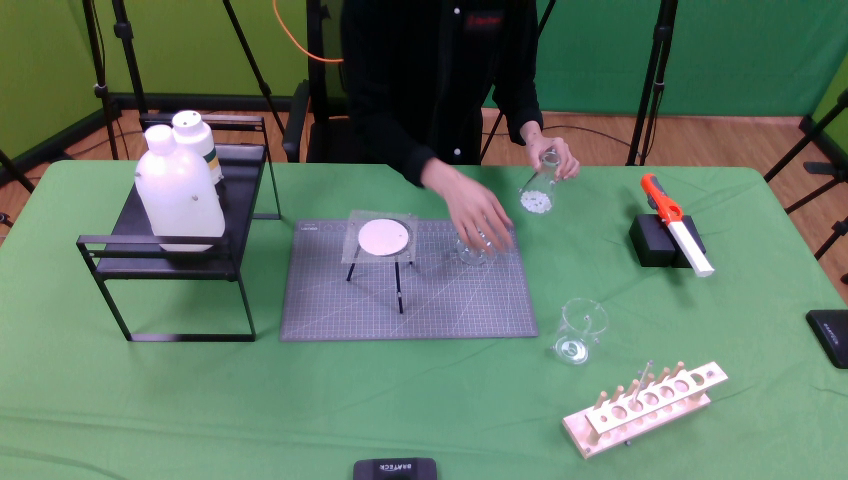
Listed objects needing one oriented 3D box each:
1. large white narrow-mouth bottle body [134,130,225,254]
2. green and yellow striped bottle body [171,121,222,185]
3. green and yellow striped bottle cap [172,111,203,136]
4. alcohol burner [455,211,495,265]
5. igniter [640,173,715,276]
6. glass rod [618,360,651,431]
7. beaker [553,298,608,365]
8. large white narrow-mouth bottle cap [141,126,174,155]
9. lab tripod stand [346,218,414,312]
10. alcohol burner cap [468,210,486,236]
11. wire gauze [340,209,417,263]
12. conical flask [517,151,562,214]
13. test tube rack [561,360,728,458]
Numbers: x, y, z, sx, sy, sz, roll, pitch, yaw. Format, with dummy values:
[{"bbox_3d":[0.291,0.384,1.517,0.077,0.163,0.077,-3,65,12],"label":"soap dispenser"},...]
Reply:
[{"bbox_3d":[-0.358,-0.076,0.875,0.102,0.195,0.101,1,48,-1],"label":"large white narrow-mouth bottle body"},{"bbox_3d":[-0.375,-0.149,0.995,0.063,0.120,0.063,2,46,-2],"label":"green and yellow striped bottle body"},{"bbox_3d":[-0.374,-0.185,0.958,0.045,0.020,0.045,4,46,-4],"label":"green and yellow striped bottle cap"},{"bbox_3d":[0.097,-0.010,1.147,0.078,0.120,0.077,1,47,-1],"label":"alcohol burner"},{"bbox_3d":[0.495,-0.039,1.204,0.057,0.025,0.274,-2,47,-12],"label":"igniter"},{"bbox_3d":[0.298,0.227,0.865,0.008,0.201,0.008,-2,48,2],"label":"glass rod"},{"bbox_3d":[0.260,0.154,1.015,0.073,0.101,0.084,37,54,27],"label":"beaker"},{"bbox_3d":[-0.356,-0.134,0.811,0.038,0.024,0.037,2,48,-1],"label":"large white narrow-mouth bottle cap"},{"bbox_3d":[-0.069,0.037,1.075,0.148,0.132,0.147,1,47,-1],"label":"lab tripod stand"},{"bbox_3d":[0.099,-0.034,1.119,0.034,0.048,0.033,0,53,0],"label":"alcohol burner cap"},{"bbox_3d":[-0.074,-0.007,1.023,0.121,0.011,0.124,3,46,0],"label":"wire gauze"},{"bbox_3d":[0.229,-0.113,1.164,0.075,0.122,0.075,6,49,-6],"label":"conical flask"},{"bbox_3d":[0.341,0.248,0.940,0.243,0.085,0.066,-15,49,-18],"label":"test tube rack"}]
